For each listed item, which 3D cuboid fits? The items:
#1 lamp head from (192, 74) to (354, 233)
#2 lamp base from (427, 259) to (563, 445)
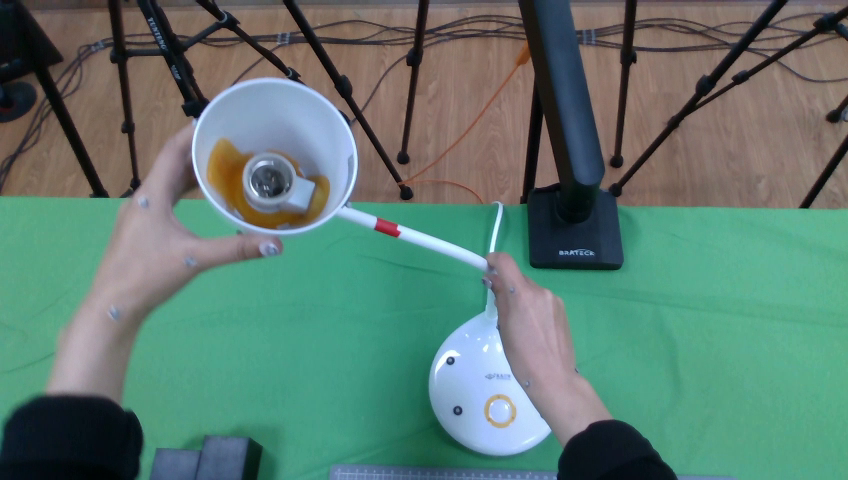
[{"bbox_3d":[-0.116,-0.053,0.474,0.113,0.123,0.112,3,79,-13],"label":"lamp head"},{"bbox_3d":[0.077,0.112,0.655,0.161,0.182,0.177,-10,58,-2],"label":"lamp base"}]
